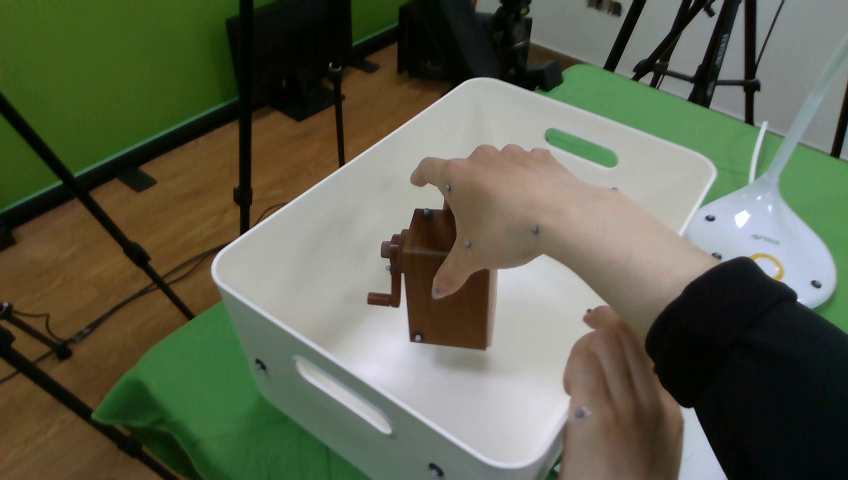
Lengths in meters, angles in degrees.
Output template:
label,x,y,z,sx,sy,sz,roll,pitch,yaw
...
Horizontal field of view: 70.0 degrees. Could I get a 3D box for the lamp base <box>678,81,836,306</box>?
label,x,y,z,sx,sy,sz,roll,pitch,yaw
lamp base,0.362,-0.055,0.612,0.160,0.182,0.177,8,42,5

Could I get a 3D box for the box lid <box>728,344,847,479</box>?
label,x,y,z,sx,sy,sz,roll,pitch,yaw
box lid,0.436,0.197,0.477,0.372,0.015,0.260,-29,51,-29

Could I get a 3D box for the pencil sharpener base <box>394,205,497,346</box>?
label,x,y,z,sx,sy,sz,roll,pitch,yaw
pencil sharpener base,0.018,0.030,0.496,0.076,0.108,0.061,4,41,8

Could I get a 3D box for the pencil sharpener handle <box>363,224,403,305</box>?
label,x,y,z,sx,sy,sz,roll,pitch,yaw
pencil sharpener handle,-0.034,0.020,0.489,0.030,0.068,0.036,4,16,8

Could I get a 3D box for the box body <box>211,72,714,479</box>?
label,x,y,z,sx,sy,sz,roll,pitch,yaw
box body,0.049,0.028,0.522,0.252,0.162,0.363,28,49,23
